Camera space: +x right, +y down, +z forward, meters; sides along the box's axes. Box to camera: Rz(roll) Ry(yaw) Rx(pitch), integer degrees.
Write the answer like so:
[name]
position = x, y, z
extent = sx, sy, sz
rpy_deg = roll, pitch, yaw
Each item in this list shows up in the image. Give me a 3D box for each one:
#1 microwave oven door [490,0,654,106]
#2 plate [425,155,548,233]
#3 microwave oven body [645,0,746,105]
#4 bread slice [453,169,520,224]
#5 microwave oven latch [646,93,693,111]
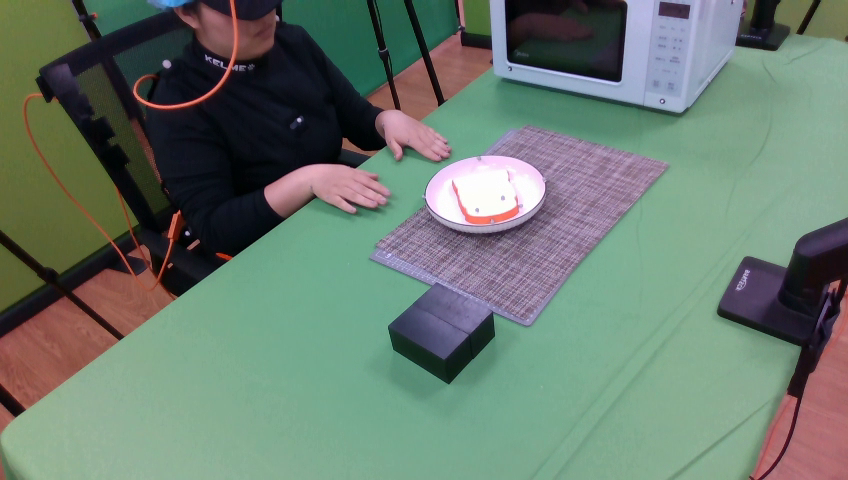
[microwave oven door]
position = 0.293, -0.420, 1.228
extent = 0.353, 0.245, 0.039
rpy_deg = 22, 49, 32
[plate]
position = 0.108, -0.076, 1.038
extent = 0.209, 0.038, 0.208
rpy_deg = -5, 39, 5
[microwave oven body]
position = 0.417, -0.486, 1.290
extent = 0.438, 0.261, 0.327
rpy_deg = 22, 50, 33
[bread slice]
position = 0.112, -0.076, 1.040
extent = 0.105, 0.019, 0.130
rpy_deg = -11, 40, -1
[microwave oven latch]
position = 0.477, -0.273, 1.177
extent = 0.078, 0.029, 0.030
rpy_deg = 22, 50, 33
